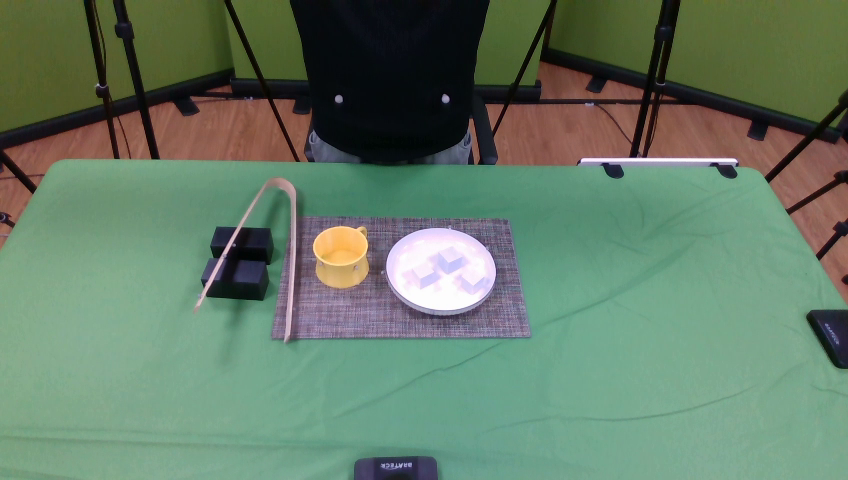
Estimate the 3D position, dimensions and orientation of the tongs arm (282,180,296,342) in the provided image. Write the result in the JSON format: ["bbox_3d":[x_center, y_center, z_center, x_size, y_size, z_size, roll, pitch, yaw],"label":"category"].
[{"bbox_3d":[-0.256,0.026,1.141,0.028,0.028,0.385,13,43,-23],"label":"tongs arm"}]

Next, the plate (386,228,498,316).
[{"bbox_3d":[0.032,0.062,1.126,0.208,0.039,0.206,2,46,-2],"label":"plate"}]

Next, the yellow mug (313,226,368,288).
[{"bbox_3d":[-0.146,0.021,1.132,0.099,0.064,0.130,24,49,19],"label":"yellow mug"}]

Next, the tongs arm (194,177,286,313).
[{"bbox_3d":[-0.327,-0.004,1.113,0.051,0.026,0.382,25,38,-15],"label":"tongs arm"}]
